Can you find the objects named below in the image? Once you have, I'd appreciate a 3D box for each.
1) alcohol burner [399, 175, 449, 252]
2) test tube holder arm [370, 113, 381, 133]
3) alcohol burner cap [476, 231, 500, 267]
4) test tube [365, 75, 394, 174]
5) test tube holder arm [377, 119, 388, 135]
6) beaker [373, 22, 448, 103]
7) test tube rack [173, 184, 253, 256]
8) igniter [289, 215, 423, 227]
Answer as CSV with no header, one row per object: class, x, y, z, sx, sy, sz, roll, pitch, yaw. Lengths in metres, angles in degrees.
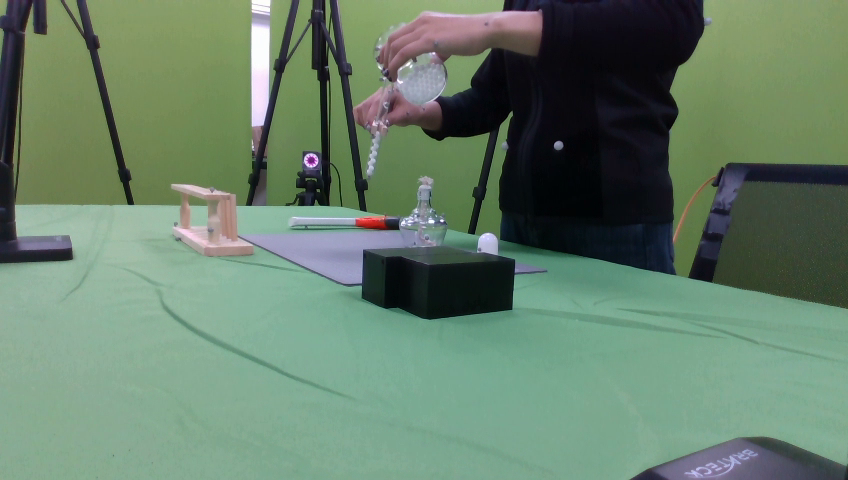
alcohol burner,0.000,-0.041,0.937,0.078,0.119,0.078,0,8,0
test tube holder arm,-0.077,-0.190,0.975,0.013,0.015,0.178,14,16,-8
alcohol burner cap,0.088,0.012,0.830,0.034,0.048,0.034,2,6,0
test tube,-0.068,-0.172,0.910,0.017,0.150,0.017,13,16,-3
test tube holder arm,-0.067,-0.175,0.934,0.010,0.015,0.087,12,16,-15
beaker,-0.019,-0.242,0.839,0.074,0.084,0.100,-8,46,-31
test tube rack,-0.329,-0.036,0.927,0.067,0.085,0.241,-2,9,-32
igniter,-0.133,-0.038,1.232,0.278,0.025,0.057,-1,-2,-25
